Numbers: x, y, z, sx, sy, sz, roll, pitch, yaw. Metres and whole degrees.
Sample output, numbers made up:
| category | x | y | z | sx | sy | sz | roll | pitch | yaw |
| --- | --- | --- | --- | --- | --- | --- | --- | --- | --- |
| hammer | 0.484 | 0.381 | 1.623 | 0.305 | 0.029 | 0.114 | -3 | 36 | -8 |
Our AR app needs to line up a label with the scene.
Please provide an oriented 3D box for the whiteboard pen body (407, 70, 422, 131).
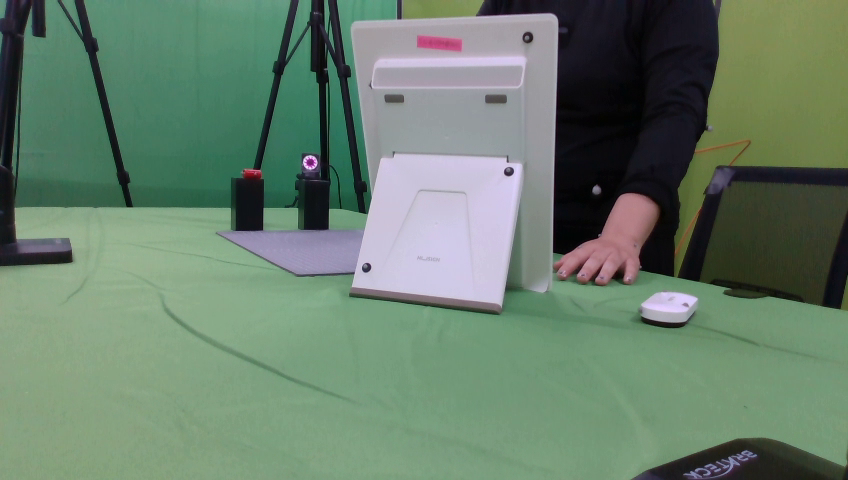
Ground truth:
| category | x | y | z | sx | sy | sz | roll | pitch | yaw |
| --- | --- | --- | --- | --- | --- | --- | --- | --- | --- |
| whiteboard pen body | -0.013 | -0.205 | 0.886 | 0.017 | 0.017 | 0.140 | 2 | 48 | -10 |

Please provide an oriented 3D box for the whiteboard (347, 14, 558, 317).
| category | x | y | z | sx | sy | sz | roll | pitch | yaw |
| --- | --- | --- | --- | --- | --- | --- | --- | --- | --- |
| whiteboard | 0.012 | -0.056 | 0.609 | 0.216 | 0.305 | 0.144 | 5 | 27 | 20 |

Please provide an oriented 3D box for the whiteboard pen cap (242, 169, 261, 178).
| category | x | y | z | sx | sy | sz | roll | pitch | yaw |
| --- | --- | --- | --- | --- | --- | --- | --- | --- | --- |
| whiteboard pen cap | -0.326 | -0.126 | 1.144 | 0.032 | 0.017 | 0.017 | 0 | 8 | -37 |

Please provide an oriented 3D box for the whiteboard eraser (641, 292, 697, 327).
| category | x | y | z | sx | sy | sz | roll | pitch | yaw |
| --- | --- | --- | --- | --- | --- | --- | --- | --- | --- |
| whiteboard eraser | 0.240 | 0.066 | 0.590 | 0.041 | 0.019 | 0.102 | 6 | 7 | 31 |
